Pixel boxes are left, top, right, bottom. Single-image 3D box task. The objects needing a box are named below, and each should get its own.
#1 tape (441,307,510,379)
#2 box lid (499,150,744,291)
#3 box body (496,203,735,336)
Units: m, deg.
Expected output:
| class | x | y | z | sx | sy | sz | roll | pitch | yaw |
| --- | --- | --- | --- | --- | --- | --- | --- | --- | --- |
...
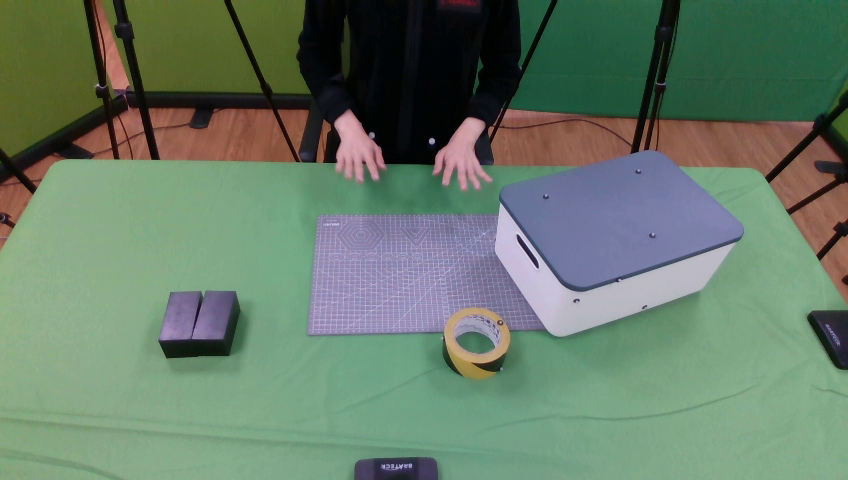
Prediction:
| class | x | y | z | sx | sy | sz | roll | pitch | yaw |
| --- | --- | --- | --- | --- | --- | --- | --- | --- | --- |
| tape | 0.087 | 0.172 | 1.014 | 0.117 | 0.053 | 0.116 | 2 | 48 | -2 |
| box lid | 0.341 | -0.049 | 1.064 | 0.372 | 0.015 | 0.261 | -15 | 48 | -18 |
| box body | 0.340 | 0.003 | 1.118 | 0.364 | 0.161 | 0.252 | -15 | 49 | -18 |
